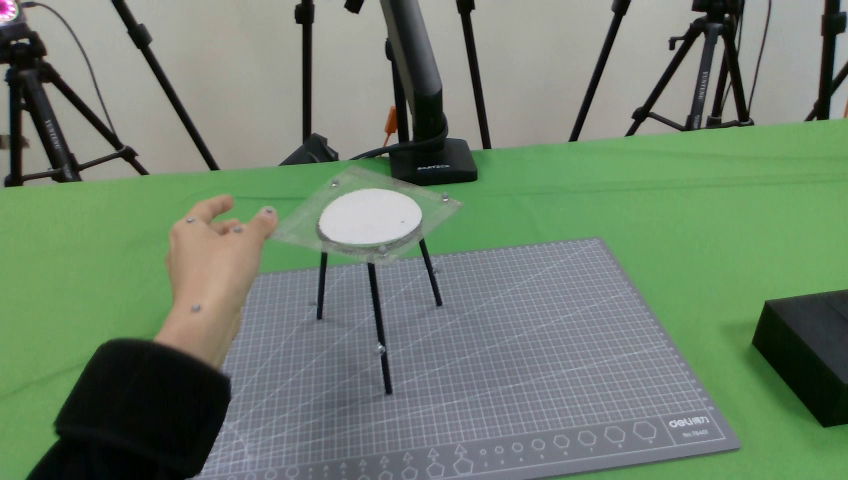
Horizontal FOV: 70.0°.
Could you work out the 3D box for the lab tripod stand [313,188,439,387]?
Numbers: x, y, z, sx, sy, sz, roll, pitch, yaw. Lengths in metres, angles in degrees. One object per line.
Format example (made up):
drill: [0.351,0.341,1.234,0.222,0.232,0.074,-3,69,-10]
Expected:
lab tripod stand: [-0.044,0.034,0.541,0.148,0.132,0.147,0,35,1]

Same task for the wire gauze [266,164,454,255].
wire gauze: [-0.045,-0.032,0.490,0.125,0.011,0.120,11,32,6]
